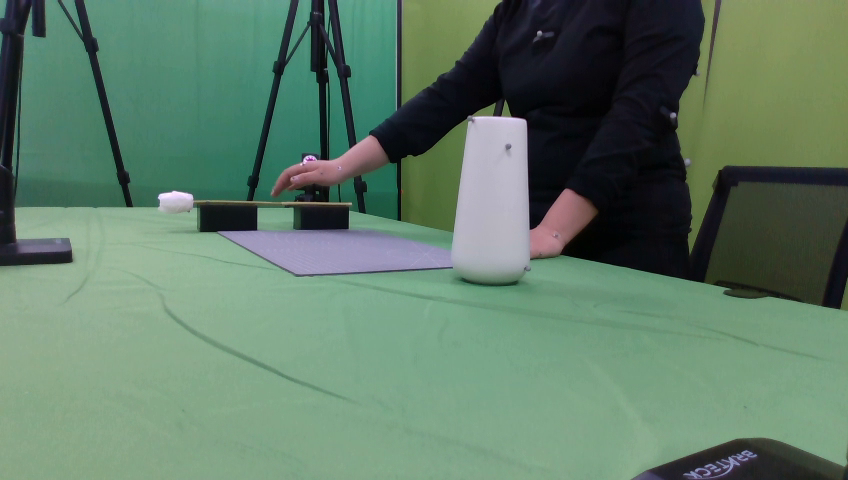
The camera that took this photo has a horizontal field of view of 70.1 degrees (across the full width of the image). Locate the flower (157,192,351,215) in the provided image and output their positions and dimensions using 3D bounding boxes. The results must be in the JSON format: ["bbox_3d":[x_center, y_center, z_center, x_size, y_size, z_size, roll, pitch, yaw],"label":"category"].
[{"bbox_3d":[-0.314,-0.075,1.160,0.363,0.038,0.044,-4,-21,-24],"label":"flower"}]

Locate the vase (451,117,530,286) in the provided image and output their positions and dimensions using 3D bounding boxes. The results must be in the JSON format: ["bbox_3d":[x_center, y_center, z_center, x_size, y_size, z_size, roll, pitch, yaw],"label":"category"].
[{"bbox_3d":[0.083,-0.047,0.737,0.098,0.200,0.098,1,6,0],"label":"vase"}]
